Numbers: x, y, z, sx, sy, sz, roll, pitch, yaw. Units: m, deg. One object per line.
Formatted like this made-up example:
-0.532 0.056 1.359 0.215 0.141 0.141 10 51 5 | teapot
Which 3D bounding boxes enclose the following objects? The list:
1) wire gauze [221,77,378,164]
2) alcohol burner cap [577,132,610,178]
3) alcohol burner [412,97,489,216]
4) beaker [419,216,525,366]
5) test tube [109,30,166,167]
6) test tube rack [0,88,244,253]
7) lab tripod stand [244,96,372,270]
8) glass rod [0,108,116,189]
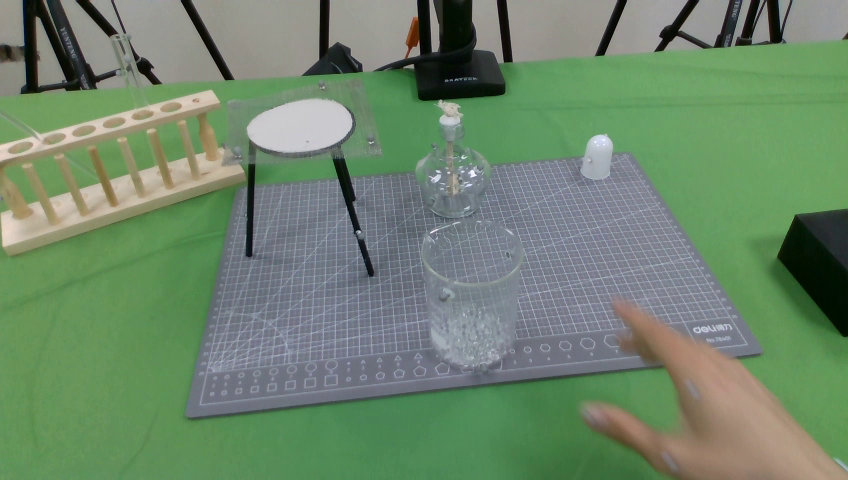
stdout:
-0.107 -0.101 0.508 0.125 0.011 0.120 -9 42 -7 | wire gauze
0.186 -0.096 0.662 0.034 0.048 0.033 -1 41 1 | alcohol burner cap
0.026 -0.085 0.602 0.078 0.120 0.077 -3 40 2 | alcohol burner
0.033 0.041 0.468 0.083 0.101 0.074 27 49 30 | beaker
-0.297 -0.142 0.632 0.017 0.151 0.017 -1 38 1 | test tube
-0.325 -0.078 0.635 0.243 0.086 0.066 -22 45 -21 | test tube rack
-0.105 -0.051 0.553 0.148 0.133 0.147 -2 43 2 | lab tripod stand
-0.384 -0.106 0.585 0.008 0.202 0.008 -17 52 23 | glass rod
